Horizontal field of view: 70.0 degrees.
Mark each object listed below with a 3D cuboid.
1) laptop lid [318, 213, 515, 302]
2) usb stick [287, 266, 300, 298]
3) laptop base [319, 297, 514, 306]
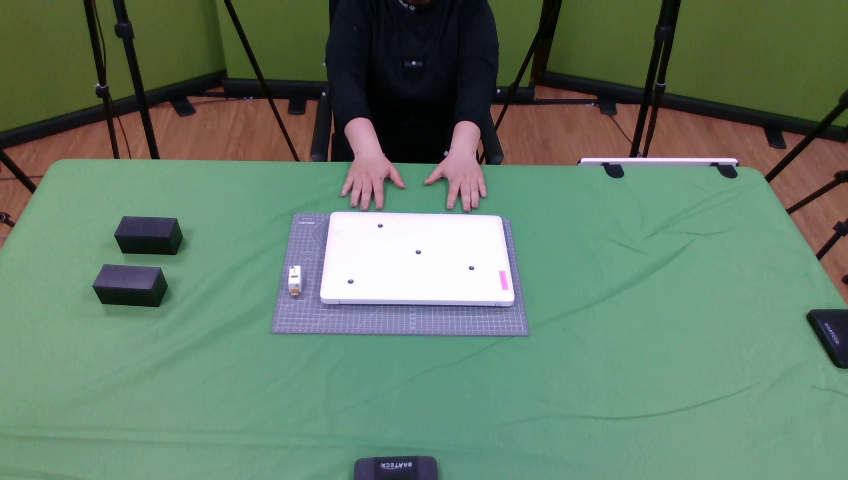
[{"bbox_3d":[-0.014,0.027,1.156,0.357,0.013,0.240,2,43,-2],"label":"laptop lid"},{"bbox_3d":[-0.237,0.077,1.097,0.021,0.027,0.059,-2,49,-6],"label":"usb stick"},{"bbox_3d":[-0.015,0.037,1.162,0.354,0.023,0.234,1,42,-3],"label":"laptop base"}]
